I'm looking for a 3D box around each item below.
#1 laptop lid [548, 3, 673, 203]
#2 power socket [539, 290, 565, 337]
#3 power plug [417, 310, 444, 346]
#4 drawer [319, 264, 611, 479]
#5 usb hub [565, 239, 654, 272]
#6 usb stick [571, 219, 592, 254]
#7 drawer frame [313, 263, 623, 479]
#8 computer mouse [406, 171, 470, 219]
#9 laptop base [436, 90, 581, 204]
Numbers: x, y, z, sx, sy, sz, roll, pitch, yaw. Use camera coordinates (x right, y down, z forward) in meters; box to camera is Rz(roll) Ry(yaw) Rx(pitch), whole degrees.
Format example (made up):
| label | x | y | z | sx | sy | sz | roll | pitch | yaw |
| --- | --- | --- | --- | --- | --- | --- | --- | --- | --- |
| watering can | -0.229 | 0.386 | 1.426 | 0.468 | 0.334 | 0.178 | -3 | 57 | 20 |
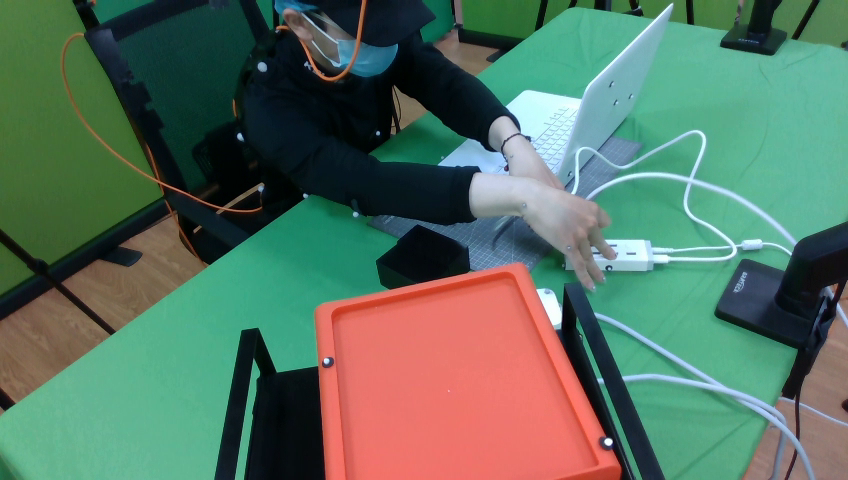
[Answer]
| label | x | y | z | sx | sy | sz | roll | pitch | yaw |
| --- | --- | --- | --- | --- | --- | --- | --- | --- | --- |
| laptop lid | 0.320 | -0.235 | 1.026 | 0.013 | 0.242 | 0.357 | 31 | 50 | 20 |
| power socket | 0.081 | 0.112 | 0.822 | 0.227 | 0.033 | 0.072 | -7 | 41 | 0 |
| power plug | 0.007 | 0.123 | 0.785 | 0.035 | 0.053 | 0.072 | 0 | 39 | 7 |
| drawer | 0.020 | 0.129 | 0.497 | 0.195 | 0.073 | 0.210 | -11 | 41 | -5 |
| usb hub | 0.275 | 0.022 | 0.905 | 0.125 | 0.025 | 0.049 | 1 | 41 | 9 |
| usb stick | 0.233 | 0.000 | 0.890 | 0.021 | 0.059 | 0.027 | -13 | 31 | 9 |
| drawer frame | 0.021 | 0.130 | 0.493 | 0.202 | 0.083 | 0.212 | -11 | 41 | -6 |
| computer mouse | 0.024 | -0.082 | 1.049 | 0.063 | 0.041 | 0.116 | -30 | 50 | -28 |
| laptop base | 0.214 | -0.192 | 1.172 | 0.233 | 0.023 | 0.355 | 19 | 46 | 32 |
